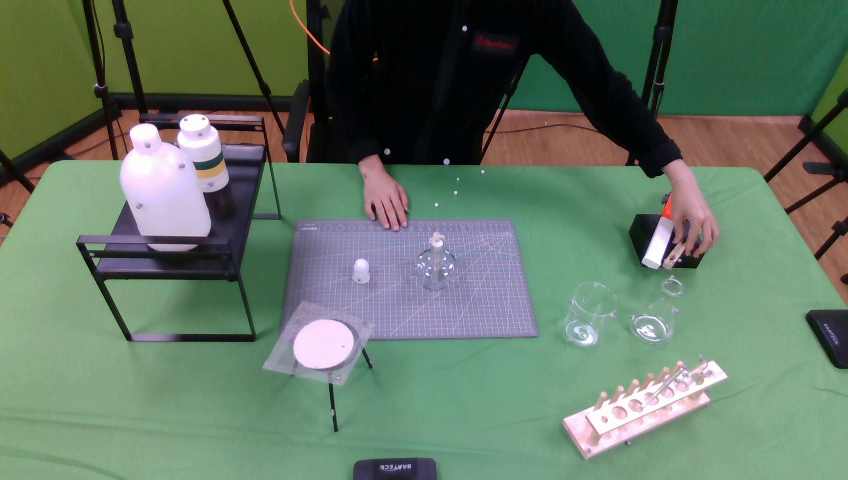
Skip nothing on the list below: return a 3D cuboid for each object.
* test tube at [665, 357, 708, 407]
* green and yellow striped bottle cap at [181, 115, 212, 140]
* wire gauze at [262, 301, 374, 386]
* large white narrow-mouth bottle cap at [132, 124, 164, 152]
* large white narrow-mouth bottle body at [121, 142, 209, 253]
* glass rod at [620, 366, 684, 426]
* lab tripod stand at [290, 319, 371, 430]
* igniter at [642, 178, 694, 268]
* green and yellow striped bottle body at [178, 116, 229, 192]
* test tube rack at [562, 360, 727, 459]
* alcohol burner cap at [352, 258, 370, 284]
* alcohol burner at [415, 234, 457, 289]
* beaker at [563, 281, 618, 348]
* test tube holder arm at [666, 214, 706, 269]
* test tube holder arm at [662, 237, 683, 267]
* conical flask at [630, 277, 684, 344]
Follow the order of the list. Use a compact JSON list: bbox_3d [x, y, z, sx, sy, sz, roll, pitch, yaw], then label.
[{"bbox_3d":[0.387,0.216,0.905,0.017,0.151,0.017,1,53,-1],"label":"test tube"},{"bbox_3d":[-0.358,-0.177,0.951,0.045,0.020,0.045,1,43,0],"label":"green and yellow striped bottle cap"},{"bbox_3d":[-0.150,0.148,0.873,0.121,0.011,0.124,14,46,12],"label":"wire gauze"},{"bbox_3d":[-0.370,-0.138,0.812,0.038,0.024,0.037,3,46,-3],"label":"large white narrow-mouth bottle cap"},{"bbox_3d":[-0.378,-0.077,0.875,0.102,0.195,0.101,3,46,-3],"label":"large white narrow-mouth bottle body"},{"bbox_3d":[0.322,0.227,0.866,0.008,0.200,0.008,5,51,-7],"label":"glass rod"},{"bbox_3d":[-0.146,0.194,0.923,0.148,0.132,0.147,1,47,-1],"label":"lab tripod stand"},{"bbox_3d":[0.488,-0.042,1.205,0.057,0.025,0.276,30,52,11],"label":"igniter"},{"bbox_3d":[-0.361,-0.142,0.989,0.063,0.120,0.063,2,46,-2],"label":"green and yellow striped bottle body"},{"bbox_3d":[0.341,0.247,0.940,0.243,0.085,0.066,-16,49,-19],"label":"test tube rack"},{"bbox_3d":[-0.117,0.055,1.118,0.034,0.048,0.033,1,45,-1],"label":"alcohol burner cap"},{"bbox_3d":[0.022,0.033,1.100,0.078,0.120,0.077,1,47,0],"label":"alcohol burner"},{"bbox_3d":[0.283,0.129,1.041,0.074,0.101,0.083,11,46,6],"label":"beaker"},{"bbox_3d":[0.508,0.000,1.170,0.013,0.015,0.178,34,53,23],"label":"test tube holder arm"},{"bbox_3d":[0.474,0.022,1.147,0.010,0.015,0.088,34,53,24],"label":"test tube holder arm"},{"bbox_3d":[0.408,0.117,1.045,0.075,0.122,0.075,2,46,-2],"label":"conical flask"}]
